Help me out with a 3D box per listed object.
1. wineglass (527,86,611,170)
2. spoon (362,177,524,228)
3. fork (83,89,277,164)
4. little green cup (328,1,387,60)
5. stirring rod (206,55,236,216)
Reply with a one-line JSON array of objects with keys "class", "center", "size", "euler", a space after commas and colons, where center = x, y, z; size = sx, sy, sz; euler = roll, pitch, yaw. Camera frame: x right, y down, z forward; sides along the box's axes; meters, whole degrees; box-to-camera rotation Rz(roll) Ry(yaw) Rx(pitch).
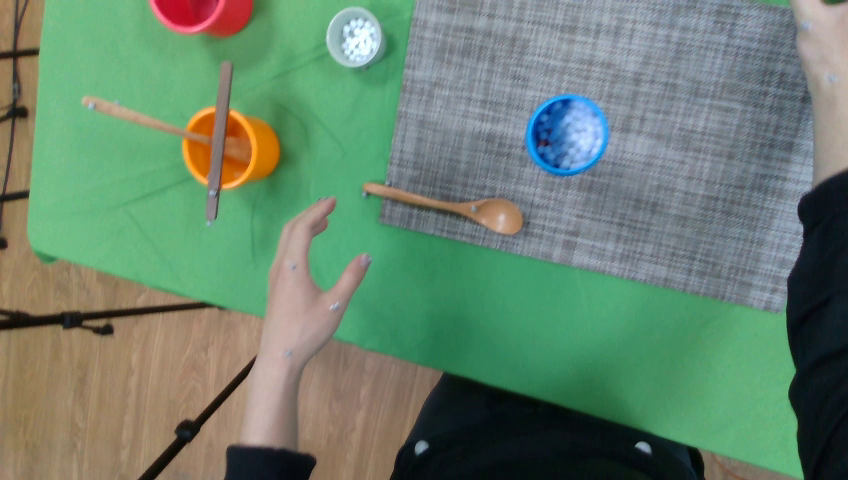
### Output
[{"class": "wineglass", "center": [0.136, -0.104, 0.572], "size": [0.073, 0.172, 0.074], "euler": [2, 99, 13]}, {"class": "spoon", "center": [0.019, -0.049, 0.685], "size": [0.193, 0.021, 0.042], "euler": [12, 124, 10]}, {"class": "fork", "center": [-0.263, -0.125, 0.673], "size": [0.209, 0.018, 0.028], "euler": [15, 114, -35]}, {"class": "little green cup", "center": [-0.070, -0.229, 0.669], "size": [0.061, 0.038, 0.062], "euler": [2, 100, 13]}, {"class": "stirring rod", "center": [-0.223, -0.113, 0.664], "size": [0.014, 0.006, 0.176], "euler": [13, 102, 11]}]
